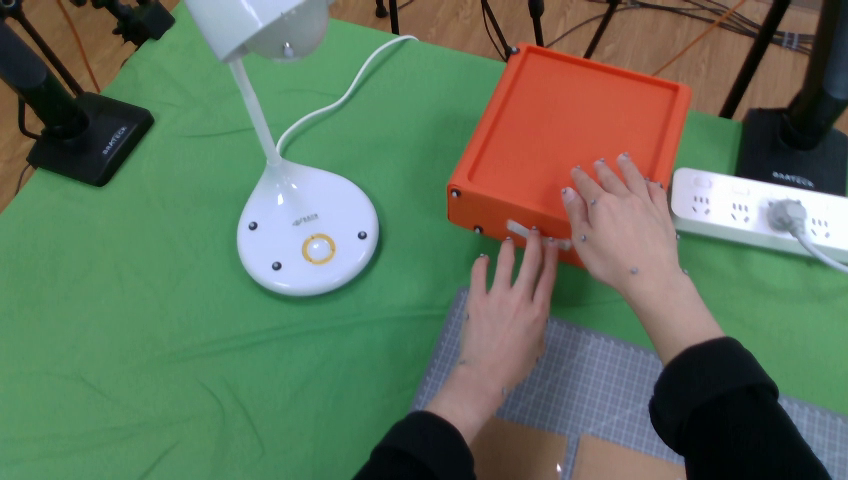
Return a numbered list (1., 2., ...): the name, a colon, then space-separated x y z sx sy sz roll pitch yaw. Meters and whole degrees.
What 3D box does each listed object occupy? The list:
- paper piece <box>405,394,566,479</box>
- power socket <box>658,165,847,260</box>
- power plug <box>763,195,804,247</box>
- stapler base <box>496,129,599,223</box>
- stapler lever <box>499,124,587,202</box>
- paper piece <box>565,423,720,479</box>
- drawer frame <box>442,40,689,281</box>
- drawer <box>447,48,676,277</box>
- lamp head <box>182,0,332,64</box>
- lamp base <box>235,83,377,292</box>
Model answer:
1. paper piece: 0.052 0.223 0.560 0.135 0.009 0.137 13 63 12
2. power socket: 0.377 -0.032 0.680 0.226 0.033 0.072 12 63 8
3. power plug: 0.378 -0.017 0.645 0.035 0.053 0.072 22 64 14
4. stapler base: 0.131 -0.074 0.652 0.041 0.024 0.129 -41 63 -1
5. stapler lever: 0.122 -0.083 0.630 0.027 0.040 0.117 -41 63 -2
6. paper piece: 0.188 0.249 0.540 0.135 0.004 0.135 17 63 12
7. drawer frame: 0.150 -0.091 0.641 0.201 0.083 0.212 19 62 12
8. drawer: 0.151 -0.088 0.640 0.194 0.074 0.210 19 63 13
9. lamp head: -0.111 -0.184 0.363 0.112 0.112 0.123 -39 105 -18
10. lamp base: -0.144 -0.061 0.627 0.160 0.182 0.177 -32 61 -15
